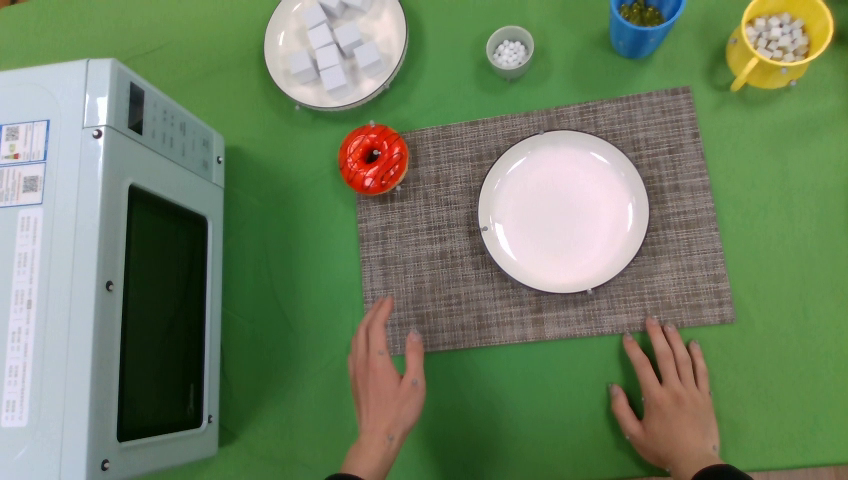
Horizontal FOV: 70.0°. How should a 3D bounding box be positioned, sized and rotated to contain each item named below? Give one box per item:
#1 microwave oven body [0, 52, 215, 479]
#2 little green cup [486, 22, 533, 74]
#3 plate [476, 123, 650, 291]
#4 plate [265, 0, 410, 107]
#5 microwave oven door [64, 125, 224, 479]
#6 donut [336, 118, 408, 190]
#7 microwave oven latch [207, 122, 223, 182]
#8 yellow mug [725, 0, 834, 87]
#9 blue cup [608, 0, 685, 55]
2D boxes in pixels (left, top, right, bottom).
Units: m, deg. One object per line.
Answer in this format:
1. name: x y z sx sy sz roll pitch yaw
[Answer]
1. microwave oven body: -0.451 0.047 0.736 0.325 0.261 0.440 -4 80 9
2. little green cup: 0.115 -0.252 0.804 0.061 0.039 0.061 -2 79 11
3. plate: 0.170 -0.040 0.753 0.209 0.038 0.208 -2 80 10
4. plate: -0.119 -0.282 0.852 0.207 0.039 0.207 -2 80 10
5. microwave oven door: -0.307 0.077 0.699 0.039 0.245 0.354 -5 79 10
6. donut: -0.070 -0.114 0.806 0.099 0.048 0.098 -2 81 12
7. microwave oven latch: -0.295 -0.120 0.837 0.030 0.029 0.079 -2 80 10
8. yellow mug: 0.416 -0.237 0.731 0.099 0.064 0.131 42 91 14
9. blue cup: 0.267 -0.279 0.748 0.092 0.101 0.092 -1 81 10
